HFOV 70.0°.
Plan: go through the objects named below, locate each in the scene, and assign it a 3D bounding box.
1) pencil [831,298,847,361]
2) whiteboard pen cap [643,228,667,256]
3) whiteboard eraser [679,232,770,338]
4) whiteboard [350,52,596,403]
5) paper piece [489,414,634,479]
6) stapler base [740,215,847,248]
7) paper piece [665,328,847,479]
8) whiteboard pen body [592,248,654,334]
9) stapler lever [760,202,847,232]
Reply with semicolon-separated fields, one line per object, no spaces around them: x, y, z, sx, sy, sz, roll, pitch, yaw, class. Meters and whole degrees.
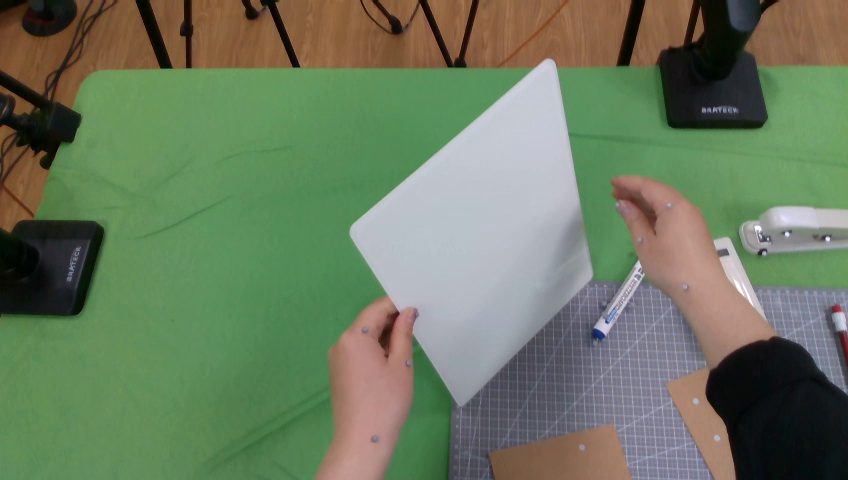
0.451;0.153;0.628;0.012;0.012;0.192;-2;69;3;pencil
0.266;0.004;0.700;0.018;0.018;0.033;31;70;16;whiteboard pen cap
0.326;0.049;0.664;0.055;0.042;0.111;-12;66;-1;whiteboard eraser
0.033;-0.019;0.605;0.217;0.309;0.142;-40;49;-12;whiteboard
0.146;0.255;0.605;0.135;0.004;0.134;-12;67;-2;paper piece
0.436;-0.016;0.698;0.130;0.024;0.041;-3;69;0;stapler base
0.342;0.178;0.626;0.136;0.009;0.137;-21;69;-1;paper piece
0.231;0.047;0.684;0.017;0.017;0.140;34;73;17;whiteboard pen body
0.436;-0.026;0.676;0.118;0.040;0.026;-4;69;1;stapler lever
